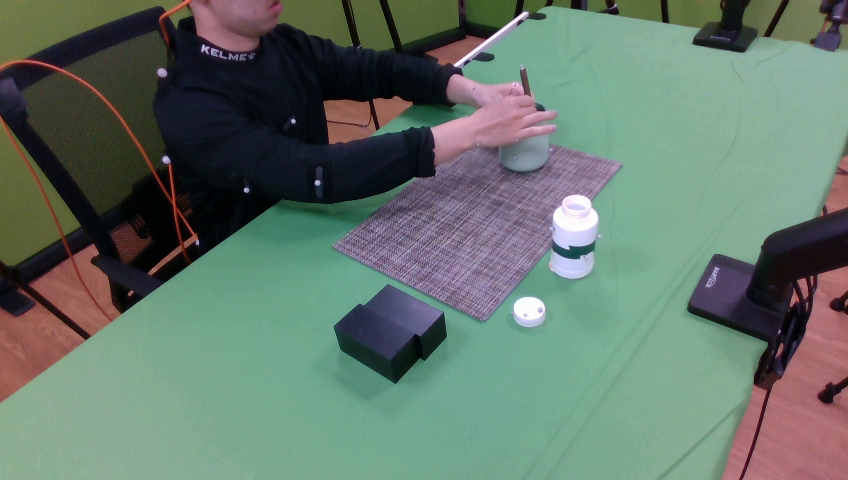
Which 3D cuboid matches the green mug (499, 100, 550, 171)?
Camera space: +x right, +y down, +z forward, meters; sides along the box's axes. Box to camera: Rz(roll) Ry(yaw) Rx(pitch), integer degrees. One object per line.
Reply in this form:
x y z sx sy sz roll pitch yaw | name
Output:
0.183 -0.197 1.101 0.092 0.105 0.125 1 41 9 | green mug

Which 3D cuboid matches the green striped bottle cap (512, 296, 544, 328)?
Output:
0.144 0.099 0.837 0.044 0.020 0.044 -1 43 2 | green striped bottle cap

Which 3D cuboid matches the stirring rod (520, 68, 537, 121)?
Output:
0.191 -0.218 1.059 0.005 0.177 0.014 12 47 38 | stirring rod

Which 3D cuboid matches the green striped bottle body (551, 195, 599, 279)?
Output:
0.217 -0.006 0.870 0.063 0.120 0.063 -4 41 4 | green striped bottle body
